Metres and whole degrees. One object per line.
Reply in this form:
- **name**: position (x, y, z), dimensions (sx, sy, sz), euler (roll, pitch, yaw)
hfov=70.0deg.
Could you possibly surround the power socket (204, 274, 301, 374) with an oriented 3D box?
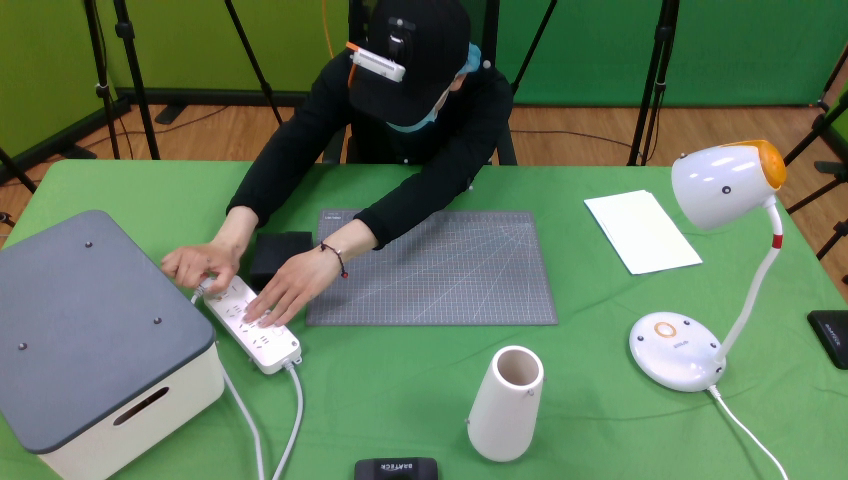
- **power socket**: position (-0.296, 0.140, 1.035), dimensions (0.072, 0.033, 0.225), euler (-32, 57, -29)

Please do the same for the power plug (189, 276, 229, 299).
- **power plug**: position (-0.368, 0.089, 1.030), dimensions (0.072, 0.053, 0.035), euler (-33, 50, -19)

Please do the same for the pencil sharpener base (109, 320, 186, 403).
- **pencil sharpener base**: position (-0.419, 0.187, 0.919), dimensions (0.077, 0.107, 0.061), euler (-30, 54, -27)

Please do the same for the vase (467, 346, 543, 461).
- **vase**: position (0.116, 0.234, 0.861), dimensions (0.098, 0.201, 0.097), euler (1, 47, -1)

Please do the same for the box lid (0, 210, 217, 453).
- **box lid**: position (-0.502, 0.102, 0.865), dimensions (0.369, 0.015, 0.263), euler (36, 54, 27)

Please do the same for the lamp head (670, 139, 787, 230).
- **lamp head**: position (0.415, -0.078, 0.811), dimensions (0.113, 0.123, 0.112), euler (13, 70, -37)

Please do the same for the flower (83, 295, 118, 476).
- **flower**: position (-0.513, 0.210, 0.960), dimensions (0.044, 0.038, 0.359), euler (5, 35, -32)

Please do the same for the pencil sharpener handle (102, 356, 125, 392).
- **pencil sharpener handle**: position (-0.460, 0.200, 0.887), dimensions (0.030, 0.068, 0.036), euler (-30, 61, -27)

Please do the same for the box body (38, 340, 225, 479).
- **box body**: position (-0.504, 0.154, 0.917), dimensions (0.362, 0.161, 0.254), euler (36, 54, 27)

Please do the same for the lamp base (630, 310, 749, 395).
- **lamp base**: position (0.447, 0.143, 0.984), dimensions (0.161, 0.181, 0.178), euler (-24, 55, -24)
